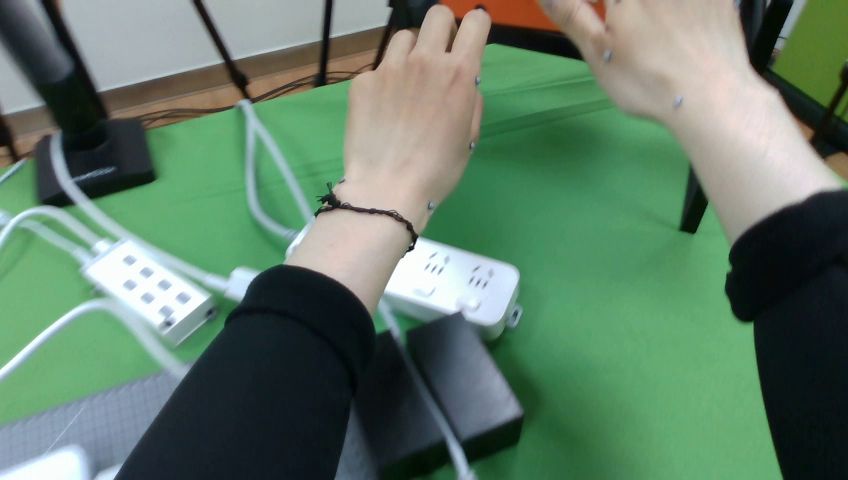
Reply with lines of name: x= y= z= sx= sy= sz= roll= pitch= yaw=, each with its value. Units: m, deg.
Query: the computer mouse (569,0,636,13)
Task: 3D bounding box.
computer mouse: x=0.141 y=-0.234 z=0.521 sx=0.063 sy=0.041 sz=0.116 roll=-36 pitch=46 yaw=-18

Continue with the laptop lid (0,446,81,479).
laptop lid: x=-0.358 y=0.283 z=0.320 sx=0.357 sy=0.013 sz=0.239 roll=-20 pitch=54 yaw=-15

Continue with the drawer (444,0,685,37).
drawer: x=0.136 y=-0.275 z=0.542 sx=0.194 sy=0.074 sz=0.210 roll=12 pitch=49 yaw=12

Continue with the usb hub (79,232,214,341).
usb hub: x=-0.251 y=0.039 z=0.545 sx=0.124 sy=0.025 sz=0.049 roll=28 pitch=54 yaw=24

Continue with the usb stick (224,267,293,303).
usb stick: x=-0.146 y=0.041 z=0.542 sx=0.059 sy=0.021 sz=0.027 roll=11 pitch=93 yaw=-9

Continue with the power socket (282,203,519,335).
power socket: x=-0.023 y=0.023 z=0.553 sx=0.226 sy=0.033 sz=0.072 roll=17 pitch=51 yaw=16

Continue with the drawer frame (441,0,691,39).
drawer frame: x=0.136 y=-0.278 z=0.543 sx=0.201 sy=0.083 sz=0.212 roll=11 pitch=49 yaw=11

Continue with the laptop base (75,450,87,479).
laptop base: x=-0.358 y=0.289 z=0.330 sx=0.355 sy=0.023 sz=0.233 roll=-21 pitch=55 yaw=-16

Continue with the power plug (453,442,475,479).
power plug: x=0.026 y=0.181 z=0.405 sx=0.035 sy=0.053 sz=0.072 roll=19 pitch=38 yaw=-7
